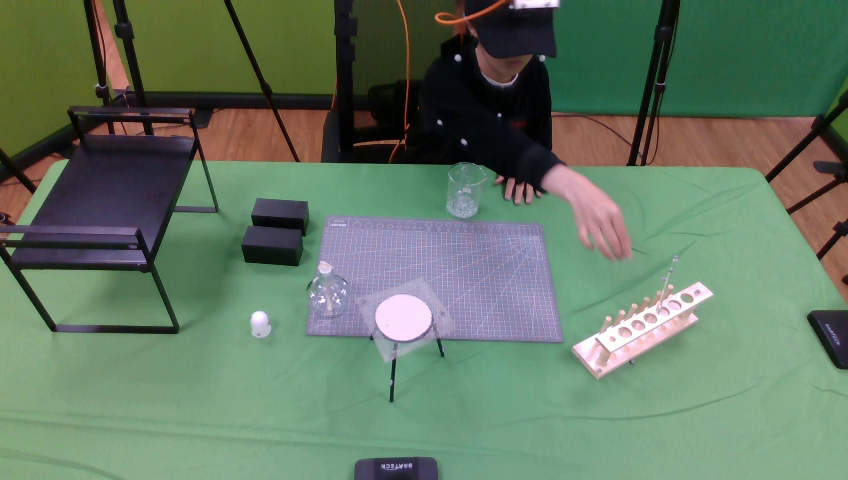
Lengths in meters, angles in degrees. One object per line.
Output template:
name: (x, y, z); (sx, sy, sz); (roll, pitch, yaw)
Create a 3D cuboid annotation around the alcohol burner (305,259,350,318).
alcohol burner: (-0.166, 0.078, 1.040); (0.078, 0.120, 0.077); (1, 44, -1)

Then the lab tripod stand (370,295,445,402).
lab tripod stand: (-0.036, 0.160, 0.959); (0.148, 0.132, 0.147); (1, 46, 0)

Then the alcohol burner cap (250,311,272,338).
alcohol burner cap: (-0.278, 0.141, 1.026); (0.034, 0.048, 0.033); (1, 46, -1)

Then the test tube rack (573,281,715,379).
test tube rack: (0.378, 0.140, 1.038); (0.242, 0.085, 0.066); (-22, 51, -22)

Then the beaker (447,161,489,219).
beaker: (0.087, -0.100, 1.244); (0.084, 0.101, 0.073); (5, 46, 1)

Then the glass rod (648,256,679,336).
glass rod: (0.390, 0.095, 0.990); (0.008, 0.201, 0.008); (-2, 45, 2)

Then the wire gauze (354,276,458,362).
wire gauze: (-0.029, 0.113, 0.912); (0.121, 0.011, 0.124); (-18, 49, -19)
